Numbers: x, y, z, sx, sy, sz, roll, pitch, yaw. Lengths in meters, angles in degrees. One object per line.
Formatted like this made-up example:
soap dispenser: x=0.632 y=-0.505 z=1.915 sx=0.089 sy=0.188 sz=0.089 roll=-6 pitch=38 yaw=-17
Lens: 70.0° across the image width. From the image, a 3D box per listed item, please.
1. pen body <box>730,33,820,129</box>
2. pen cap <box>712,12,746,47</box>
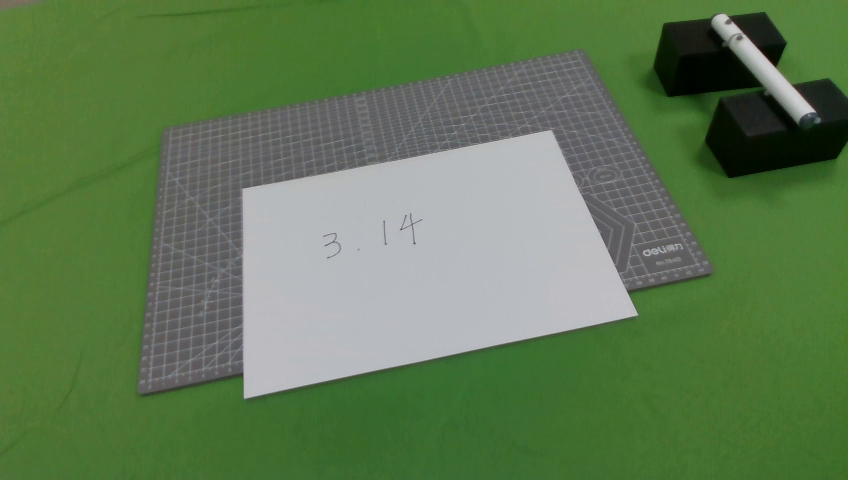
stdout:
pen body: x=0.295 y=-0.148 z=0.526 sx=0.017 sy=0.017 sz=0.142 roll=-12 pitch=53 yaw=-3
pen cap: x=0.282 y=-0.196 z=0.562 sx=0.017 sy=0.017 sz=0.038 roll=-13 pitch=55 yaw=-4
